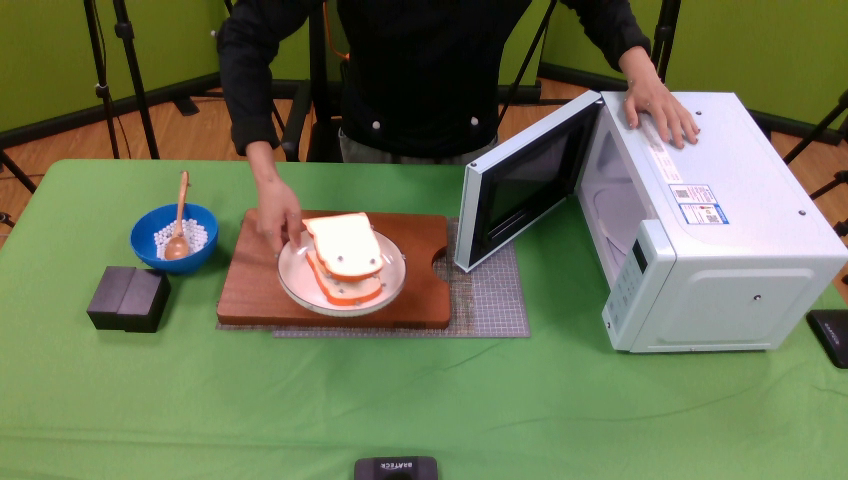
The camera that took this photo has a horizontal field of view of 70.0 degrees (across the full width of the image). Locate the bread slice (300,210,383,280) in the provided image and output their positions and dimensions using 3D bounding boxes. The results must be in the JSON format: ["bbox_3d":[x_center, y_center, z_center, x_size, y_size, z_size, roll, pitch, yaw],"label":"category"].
[{"bbox_3d":[-0.123,0.007,0.952,0.107,0.018,0.133,-11,52,-27],"label":"bread slice"}]

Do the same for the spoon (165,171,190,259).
[{"bbox_3d":[-0.452,-0.046,1.129,0.041,0.022,0.193,-2,69,-1],"label":"spoon"}]

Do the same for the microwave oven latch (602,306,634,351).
[{"bbox_3d":[0.332,0.153,1.044,0.030,0.029,0.078,0,45,-4],"label":"microwave oven latch"}]

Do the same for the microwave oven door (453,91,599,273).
[{"bbox_3d":[0.198,-0.115,1.153,0.356,0.245,0.039,-34,57,-31],"label":"microwave oven door"}]

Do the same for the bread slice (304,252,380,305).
[{"bbox_3d":[-0.128,0.054,0.991,0.105,0.019,0.130,-11,43,-23],"label":"bread slice"}]

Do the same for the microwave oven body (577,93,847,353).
[{"bbox_3d":[0.475,-0.041,1.109,0.326,0.261,0.438,-1,45,-4],"label":"microwave oven body"}]

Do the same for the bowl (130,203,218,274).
[{"bbox_3d":[-0.450,0.010,1.116,0.151,0.077,0.150,3,45,-2],"label":"bowl"}]

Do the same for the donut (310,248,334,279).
[{"bbox_3d":[-0.133,0.026,0.976,0.099,0.048,0.098,2,37,-1],"label":"donut"}]

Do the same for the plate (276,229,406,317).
[{"bbox_3d":[-0.134,0.052,0.989,0.208,0.039,0.206,7,40,-5],"label":"plate"}]
